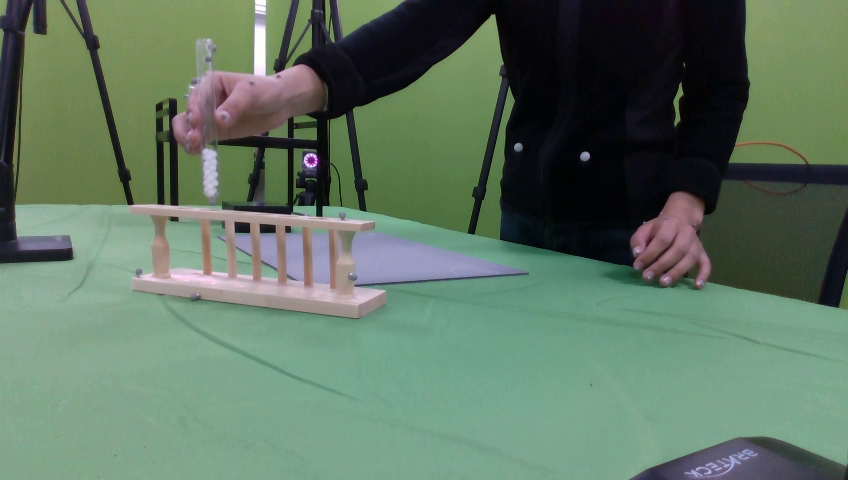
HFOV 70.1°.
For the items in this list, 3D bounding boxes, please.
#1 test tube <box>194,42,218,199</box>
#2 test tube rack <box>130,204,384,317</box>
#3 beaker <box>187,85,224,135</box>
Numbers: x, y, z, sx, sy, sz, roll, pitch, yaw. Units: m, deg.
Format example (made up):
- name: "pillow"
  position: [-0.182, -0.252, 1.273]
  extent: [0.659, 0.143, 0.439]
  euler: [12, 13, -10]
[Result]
- name: "test tube"
  position: [-0.210, -0.114, 0.582]
  extent: [0.017, 0.150, 0.017]
  euler: [-2, 2, 0]
- name: "test tube rack"
  position: [-0.162, 0.013, 0.589]
  extent: [0.242, 0.085, 0.067]
  euler: [5, 8, 17]
- name: "beaker"
  position: [-0.466, -0.276, 1.296]
  extent: [0.074, 0.100, 0.083]
  euler: [-3, 10, -35]
